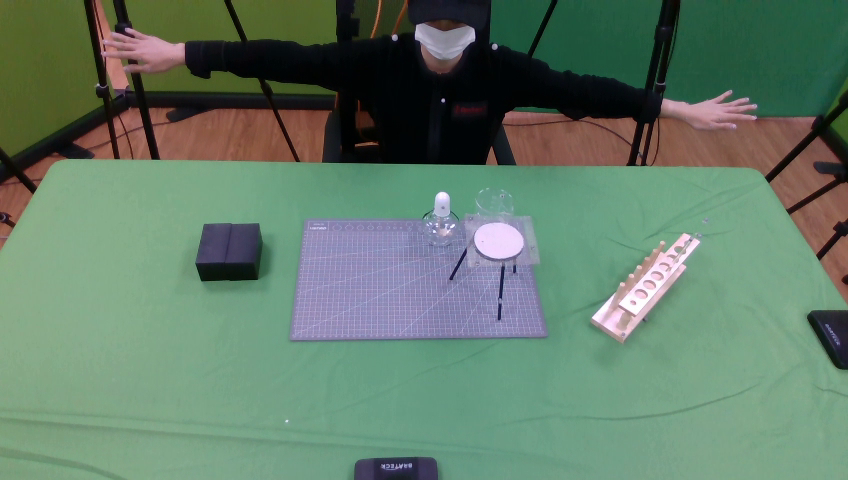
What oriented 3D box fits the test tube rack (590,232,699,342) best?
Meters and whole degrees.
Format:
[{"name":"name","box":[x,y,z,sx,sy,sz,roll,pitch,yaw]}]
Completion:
[{"name":"test tube rack","box":[0.407,0.074,1.112,0.066,0.085,0.242,35,53,26]}]

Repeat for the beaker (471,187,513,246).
[{"name":"beaker","box":[0.134,-0.042,1.190,0.083,0.101,0.074,34,53,25]}]

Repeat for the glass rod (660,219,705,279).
[{"name":"glass rod","box":[0.444,0.032,1.063,0.008,0.200,0.008,5,49,-6]}]

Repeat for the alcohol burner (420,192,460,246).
[{"name":"alcohol burner","box":[0.032,-0.046,1.176,0.078,0.120,0.077,2,44,-1]}]

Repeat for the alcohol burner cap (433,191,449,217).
[{"name":"alcohol burner cap","box":[0.033,-0.070,1.150,0.034,0.048,0.033,1,44,0]}]

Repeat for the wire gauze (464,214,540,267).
[{"name":"wire gauze","box":[0.131,-0.002,1.034,0.121,0.011,0.124,1,45,-2]}]

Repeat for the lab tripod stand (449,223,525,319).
[{"name":"lab tripod stand","box":[0.120,0.046,1.080,0.148,0.132,0.147,1,47,-1]}]
